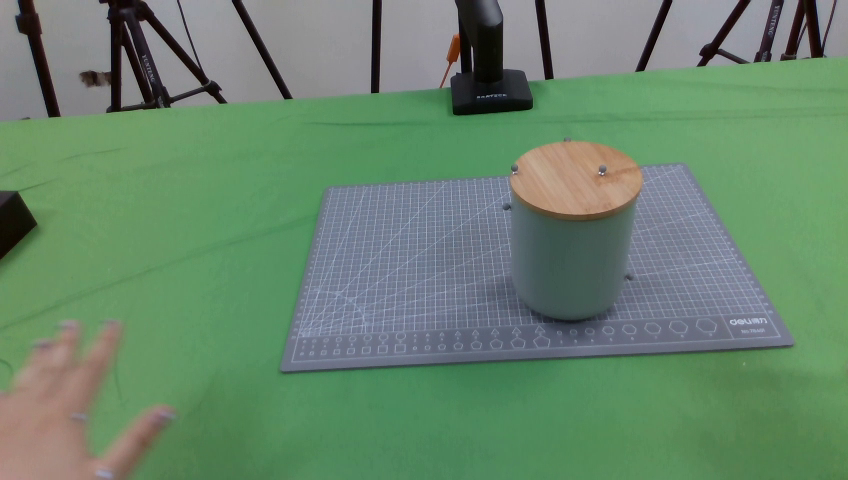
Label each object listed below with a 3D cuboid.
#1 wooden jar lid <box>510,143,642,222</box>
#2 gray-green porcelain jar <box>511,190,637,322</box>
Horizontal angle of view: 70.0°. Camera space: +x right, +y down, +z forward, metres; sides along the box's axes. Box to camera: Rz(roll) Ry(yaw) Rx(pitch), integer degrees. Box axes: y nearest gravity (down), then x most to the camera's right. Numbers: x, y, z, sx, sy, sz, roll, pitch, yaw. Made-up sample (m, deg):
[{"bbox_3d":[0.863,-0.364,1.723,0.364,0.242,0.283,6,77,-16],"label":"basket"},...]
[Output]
[{"bbox_3d":[0.127,-0.046,0.512,0.108,0.021,0.107,-5,39,4],"label":"wooden jar lid"},{"bbox_3d":[0.132,0.003,0.551,0.106,0.128,0.105,-4,39,3],"label":"gray-green porcelain jar"}]
